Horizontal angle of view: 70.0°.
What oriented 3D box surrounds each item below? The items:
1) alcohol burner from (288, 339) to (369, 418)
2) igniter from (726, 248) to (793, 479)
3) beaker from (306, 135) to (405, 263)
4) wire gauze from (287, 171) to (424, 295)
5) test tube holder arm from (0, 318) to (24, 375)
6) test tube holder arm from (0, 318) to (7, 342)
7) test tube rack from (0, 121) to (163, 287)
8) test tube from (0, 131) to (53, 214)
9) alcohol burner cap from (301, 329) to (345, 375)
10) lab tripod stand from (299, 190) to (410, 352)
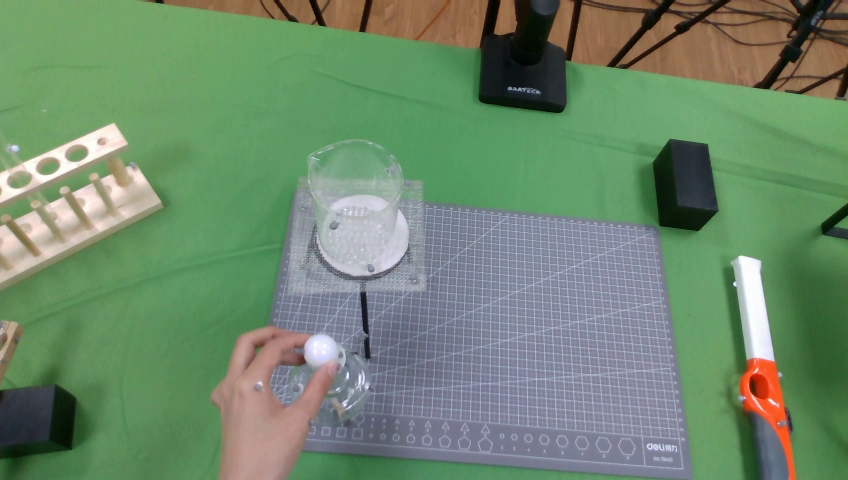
[{"bbox_3d":[-0.090,0.125,0.570,0.078,0.120,0.077,4,61,-7],"label":"alcohol burner"},{"bbox_3d":[0.367,0.136,0.669,0.057,0.025,0.274,13,62,-11],"label":"igniter"},{"bbox_3d":[-0.061,-0.031,0.515,0.084,0.101,0.073,29,63,8],"label":"beaker"},{"bbox_3d":[-0.062,-0.010,0.559,0.121,0.011,0.124,0,66,-5],"label":"wire gauze"},{"bbox_3d":[-0.386,0.114,0.545,0.010,0.015,0.087,9,61,-2],"label":"test tube holder arm"},{"bbox_3d":[-0.396,0.152,0.523,0.013,0.015,0.177,8,61,-2],"label":"test tube holder arm"},{"bbox_3d":[-0.413,-0.024,0.630,0.242,0.086,0.066,-32,70,-21],"label":"test tube rack"},{"bbox_3d":[-0.404,-0.071,0.600,0.017,0.151,0.017,4,57,-5],"label":"test tube"},{"bbox_3d":[-0.086,0.092,0.506,0.034,0.048,0.033,-1,65,2],"label":"alcohol burner cap"},{"bbox_3d":[-0.065,0.025,0.614,0.149,0.132,0.147,4,63,-6],"label":"lab tripod stand"}]
